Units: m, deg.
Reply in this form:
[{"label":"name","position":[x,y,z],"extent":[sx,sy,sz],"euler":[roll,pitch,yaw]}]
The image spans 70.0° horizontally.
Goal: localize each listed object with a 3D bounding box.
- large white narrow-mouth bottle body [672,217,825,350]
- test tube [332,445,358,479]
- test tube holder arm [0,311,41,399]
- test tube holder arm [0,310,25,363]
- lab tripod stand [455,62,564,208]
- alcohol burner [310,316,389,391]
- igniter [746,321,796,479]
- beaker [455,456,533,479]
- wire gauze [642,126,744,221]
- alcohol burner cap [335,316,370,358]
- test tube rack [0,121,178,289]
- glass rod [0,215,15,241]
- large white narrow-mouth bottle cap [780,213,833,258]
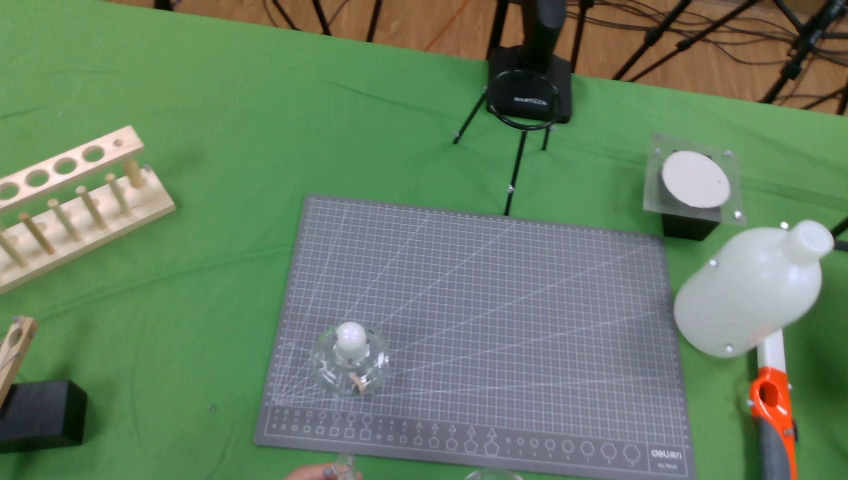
[{"label":"large white narrow-mouth bottle body","position":[0.346,0.039,0.637],"extent":[0.102,0.196,0.101],"euler":[3,60,-4]},{"label":"test tube","position":[-0.059,0.203,0.482],"extent":[0.017,0.151,0.017],"euler":[1,46,-1]},{"label":"test tube holder arm","position":[-0.376,0.107,0.553],"extent":[0.010,0.015,0.087],"euler":[10,59,-1]},{"label":"test tube holder arm","position":[-0.387,0.145,0.530],"extent":[0.013,0.015,0.177],"euler":[9,59,-2]},{"label":"lab tripod stand","position":[0.110,-0.133,0.738],"extent":[0.149,0.132,0.147],"euler":[4,62,-7]},{"label":"alcohol burner","position":[-0.071,0.105,0.590],"extent":[0.078,0.120,0.077],"euler":[4,59,-7]},{"label":"igniter","position":[0.385,0.148,0.677],"extent":[0.057,0.025,0.274],"euler":[21,60,-10]},{"label":"beaker","position":[0.054,0.241,0.513],"extent":[0.084,0.101,0.073],"euler":[-30,56,-20]},{"label":"wire gauze","position":[0.335,-0.083,0.754],"extent":[0.121,0.011,0.124],"euler":[14,60,1]},{"label":"alcohol burner cap","position":[-0.068,0.088,0.558],"extent":[0.034,0.048,0.033],"euler":[1,65,-2]},{"label":"test tube rack","position":[-0.400,-0.029,0.642],"extent":[0.242,0.086,0.066],"euler":[-31,69,-22]},{"label":"glass rod","position":[-0.433,-0.061,0.579],"extent":[0.008,0.201,0.008],"euler":[5,51,-6]},{"label":"large white narrow-mouth bottle cap","position":[0.354,-0.004,0.563],"extent":[0.038,0.024,0.037],"euler":[3,60,-5]}]
